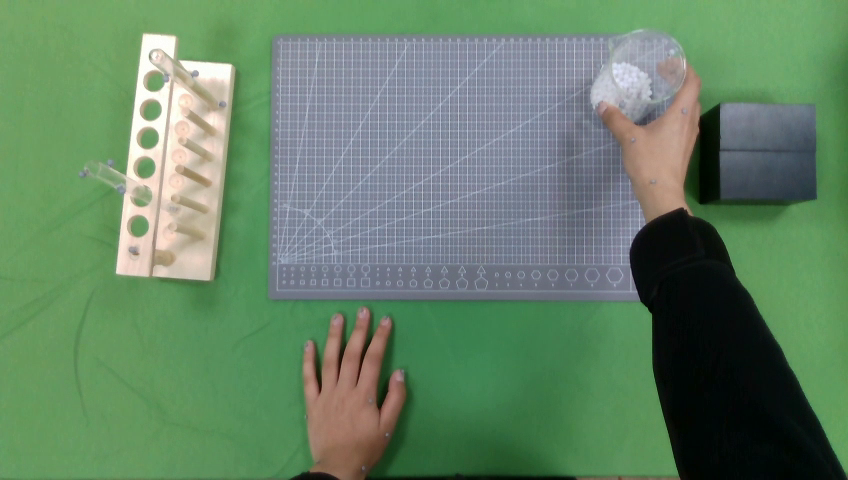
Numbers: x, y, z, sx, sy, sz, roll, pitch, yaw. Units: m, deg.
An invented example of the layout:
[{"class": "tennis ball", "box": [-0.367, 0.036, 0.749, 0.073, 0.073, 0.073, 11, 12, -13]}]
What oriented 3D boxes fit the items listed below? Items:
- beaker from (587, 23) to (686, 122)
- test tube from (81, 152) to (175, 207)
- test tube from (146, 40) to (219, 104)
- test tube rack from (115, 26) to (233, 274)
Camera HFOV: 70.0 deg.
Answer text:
[{"class": "beaker", "box": [0.211, -0.170, 0.628, 0.084, 0.100, 0.074, 38, 87, 4]}, {"class": "test tube", "box": [-0.281, -0.055, 0.588, 0.017, 0.151, 0.017, 0, 80, 3]}, {"class": "test tube", "box": [-0.234, -0.162, 0.597, 0.017, 0.150, 0.017, 0, 86, 0]}, {"class": "test tube rack", "box": [-0.259, -0.087, 0.638, 0.067, 0.085, 0.242, 5, 87, 1]}]
